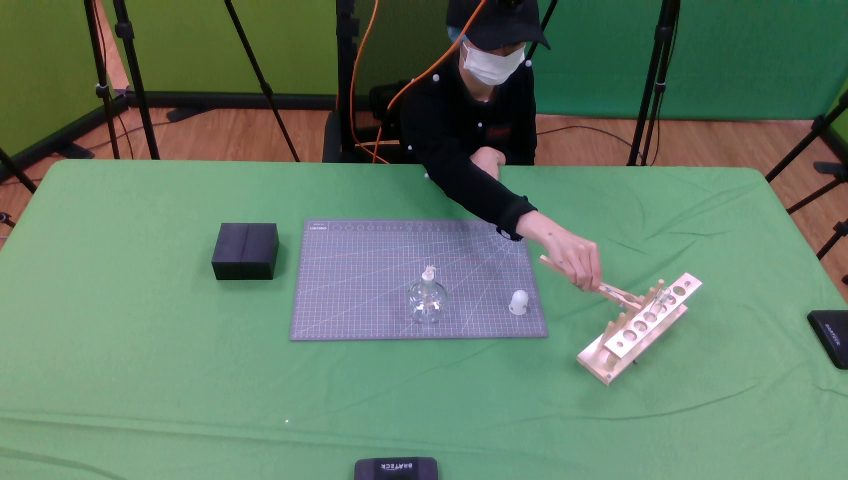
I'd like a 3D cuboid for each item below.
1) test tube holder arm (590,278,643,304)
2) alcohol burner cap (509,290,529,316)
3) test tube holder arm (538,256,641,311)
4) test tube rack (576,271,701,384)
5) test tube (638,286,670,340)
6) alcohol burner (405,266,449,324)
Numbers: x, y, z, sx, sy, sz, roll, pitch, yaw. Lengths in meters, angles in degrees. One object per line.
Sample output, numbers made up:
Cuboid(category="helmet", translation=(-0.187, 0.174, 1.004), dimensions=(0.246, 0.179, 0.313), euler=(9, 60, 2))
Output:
Cuboid(category="test tube holder arm", translation=(0.314, 0.085, 0.993), dimensions=(0.087, 0.015, 0.010), euler=(22, 49, 10))
Cuboid(category="alcohol burner cap", translation=(0.171, 0.110, 1.086), dimensions=(0.034, 0.048, 0.033), euler=(2, 45, -1))
Cuboid(category="test tube holder arm", translation=(0.271, 0.071, 1.000), dimensions=(0.178, 0.015, 0.013), euler=(26, 50, 14))
Cuboid(category="test tube rack", translation=(0.373, 0.138, 1.047), dimensions=(0.242, 0.085, 0.066), euler=(-31, 56, -29))
Cuboid(category="test tube", translation=(0.373, 0.122, 0.994), dimensions=(0.017, 0.151, 0.017), euler=(0, 51, 0))
Cuboid(category="alcohol burner", translation=(0.005, 0.089, 1.043), dimensions=(0.078, 0.120, 0.077), euler=(1, 45, -1))
